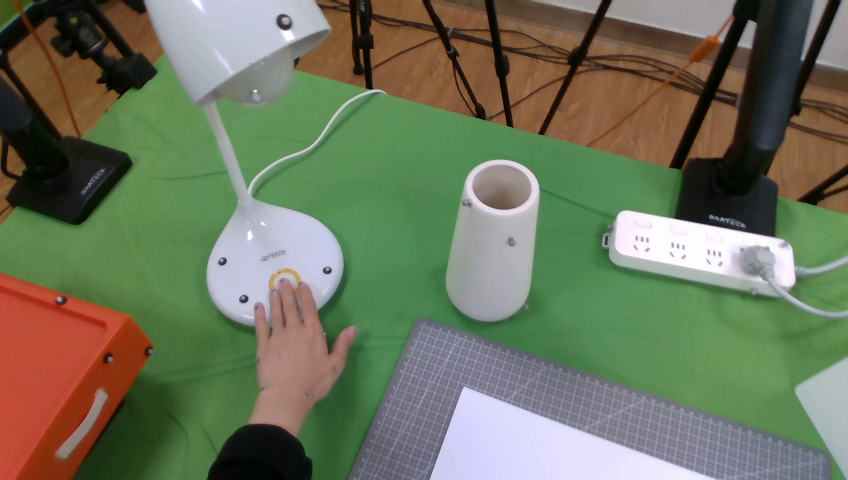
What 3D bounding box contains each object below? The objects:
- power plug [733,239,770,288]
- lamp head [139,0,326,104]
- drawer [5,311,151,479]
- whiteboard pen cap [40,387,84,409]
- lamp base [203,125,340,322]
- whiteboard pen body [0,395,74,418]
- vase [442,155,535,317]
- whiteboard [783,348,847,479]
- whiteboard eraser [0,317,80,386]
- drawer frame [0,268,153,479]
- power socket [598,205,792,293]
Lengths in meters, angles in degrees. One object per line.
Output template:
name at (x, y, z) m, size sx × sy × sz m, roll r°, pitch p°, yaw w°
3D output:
power plug at (0.372, 0.031, 0.696) m, size 0.035 × 0.053 × 0.072 m, roll 20°, pitch 60°, yaw 14°
lamp head at (-0.146, -0.171, 0.417) m, size 0.112 × 0.112 × 0.123 m, roll -38°, pitch 102°, yaw -23°
drawer at (-0.405, 0.134, 0.565) m, size 0.211 × 0.074 × 0.193 m, roll 15°, pitch 58°, yaw 10°
whiteboard pen cap at (-0.346, 0.151, 0.580) m, size 0.033 × 0.018 × 0.018 m, roll -9°, pitch 56°, yaw -10°
lamp base at (-0.189, -0.026, 0.668) m, size 0.160 × 0.182 × 0.177 m, roll -30°, pitch 58°, yaw -20°
whiteboard pen body at (-0.403, 0.160, 0.566) m, size 0.141 × 0.017 × 0.017 m, roll -8°, pitch 56°, yaw -9°
vase at (0.068, 0.001, 0.642) m, size 0.098 × 0.202 × 0.097 m, roll 0°, pitch 55°, yaw 1°
whiteboard at (0.527, 0.152, 0.516) m, size 0.144 × 0.307 × 0.215 m, roll 1°, pitch 53°, yaw -23°
whiteboard eraser at (-0.398, 0.116, 0.622) m, size 0.112 × 0.042 × 0.055 m, roll -15°, pitch 62°, yaw 26°
drawer frame at (-0.411, 0.135, 0.568) m, size 0.213 × 0.083 × 0.200 m, roll 16°, pitch 58°, yaw 9°
power socket at (0.329, 0.010, 0.738) m, size 0.226 × 0.033 × 0.071 m, roll 12°, pitch 57°, yaw 7°
